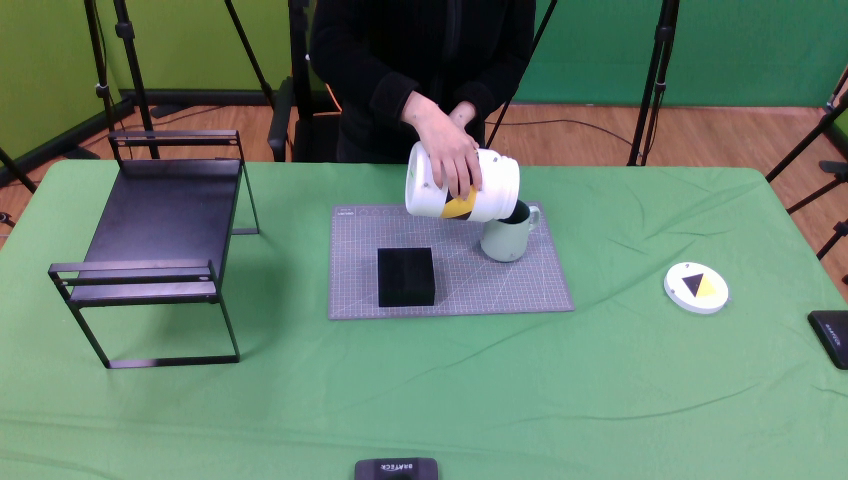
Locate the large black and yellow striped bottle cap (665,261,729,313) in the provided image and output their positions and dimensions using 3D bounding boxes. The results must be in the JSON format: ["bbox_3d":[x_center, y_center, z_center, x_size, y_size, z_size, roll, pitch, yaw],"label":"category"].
[{"bbox_3d":[0.518,0.087,1.152,0.115,0.019,0.114,2,47,-2],"label":"large black and yellow striped bottle cap"}]

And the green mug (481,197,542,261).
[{"bbox_3d":[0.174,-0.027,1.173,0.125,0.105,0.092,-22,51,-22],"label":"green mug"}]

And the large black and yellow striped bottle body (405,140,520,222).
[{"bbox_3d":[0.067,-0.102,1.073,0.184,0.131,0.130,5,46,-10],"label":"large black and yellow striped bottle body"}]
